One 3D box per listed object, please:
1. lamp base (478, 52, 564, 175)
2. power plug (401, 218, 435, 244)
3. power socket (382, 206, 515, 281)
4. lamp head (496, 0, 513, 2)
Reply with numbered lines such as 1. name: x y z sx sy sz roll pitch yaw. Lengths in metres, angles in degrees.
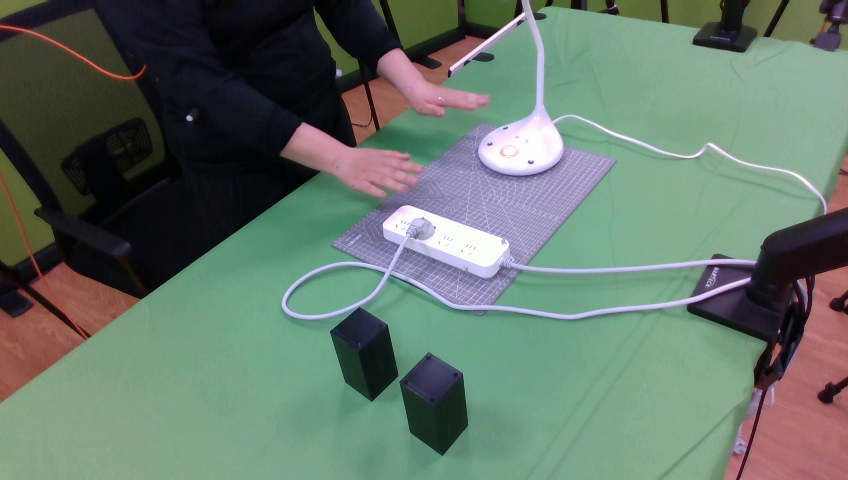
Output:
1. lamp base: 0.181 -0.236 1.095 0.159 0.181 0.179 19 44 28
2. power plug: -0.014 -0.005 0.937 0.073 0.053 0.035 -37 47 -27
3. power socket: 0.032 0.002 0.950 0.225 0.033 0.072 21 49 29
4. lamp head: 0.120 -0.420 0.861 0.111 0.113 0.123 24 72 32
